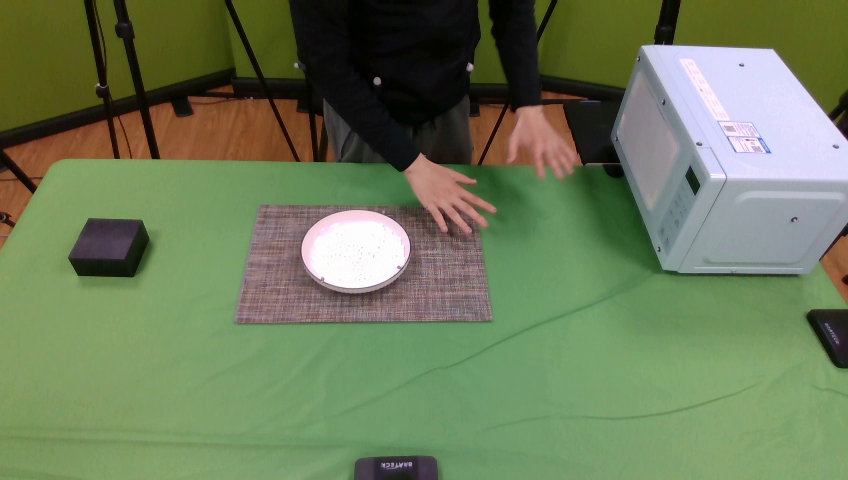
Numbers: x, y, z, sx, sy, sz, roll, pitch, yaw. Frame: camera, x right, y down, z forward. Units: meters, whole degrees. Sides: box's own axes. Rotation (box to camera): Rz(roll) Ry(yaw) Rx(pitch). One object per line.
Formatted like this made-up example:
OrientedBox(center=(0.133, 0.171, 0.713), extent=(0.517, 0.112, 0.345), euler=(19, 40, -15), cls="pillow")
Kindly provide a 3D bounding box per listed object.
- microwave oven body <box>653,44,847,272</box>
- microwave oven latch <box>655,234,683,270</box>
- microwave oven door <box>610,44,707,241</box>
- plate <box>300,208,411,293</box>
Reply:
OrientedBox(center=(0.620, -0.172, 1.234), extent=(0.326, 0.261, 0.439), euler=(0, 46, -3), cls="microwave oven body")
OrientedBox(center=(0.473, 0.021, 1.175), extent=(0.030, 0.029, 0.078), euler=(2, 46, -1), cls="microwave oven latch")
OrientedBox(center=(0.474, -0.208, 1.250), extent=(0.039, 0.245, 0.353), euler=(0, 47, -3), cls="microwave oven door")
OrientedBox(center=(-0.128, 0.022, 1.149), extent=(0.209, 0.038, 0.208), euler=(2, 47, -2), cls="plate")
